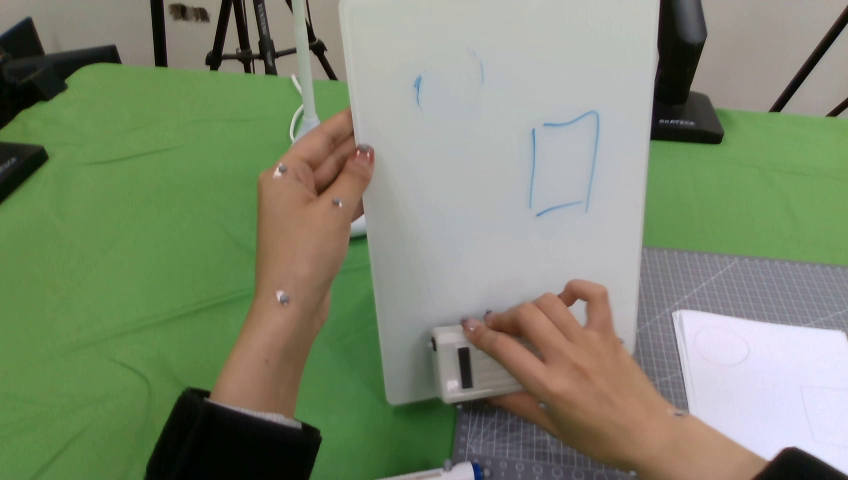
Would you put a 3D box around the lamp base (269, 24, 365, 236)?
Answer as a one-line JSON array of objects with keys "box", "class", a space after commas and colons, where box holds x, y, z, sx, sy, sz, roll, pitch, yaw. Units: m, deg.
[{"box": [-0.101, -0.122, 0.638, 0.161, 0.182, 0.177, -29, 47, -29], "class": "lamp base"}]

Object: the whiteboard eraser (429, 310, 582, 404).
[{"box": [0.062, 0.088, 0.462, 0.113, 0.056, 0.041, -7, 9, -9], "class": "whiteboard eraser"}]

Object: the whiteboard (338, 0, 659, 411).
[{"box": [0.051, -0.045, 0.503, 0.217, 0.307, 0.142, -8, 23, -9], "class": "whiteboard"}]

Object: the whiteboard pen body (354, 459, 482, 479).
[{"box": [-0.028, 0.172, 0.422, 0.141, 0.017, 0.017, -6, 41, -9], "class": "whiteboard pen body"}]
